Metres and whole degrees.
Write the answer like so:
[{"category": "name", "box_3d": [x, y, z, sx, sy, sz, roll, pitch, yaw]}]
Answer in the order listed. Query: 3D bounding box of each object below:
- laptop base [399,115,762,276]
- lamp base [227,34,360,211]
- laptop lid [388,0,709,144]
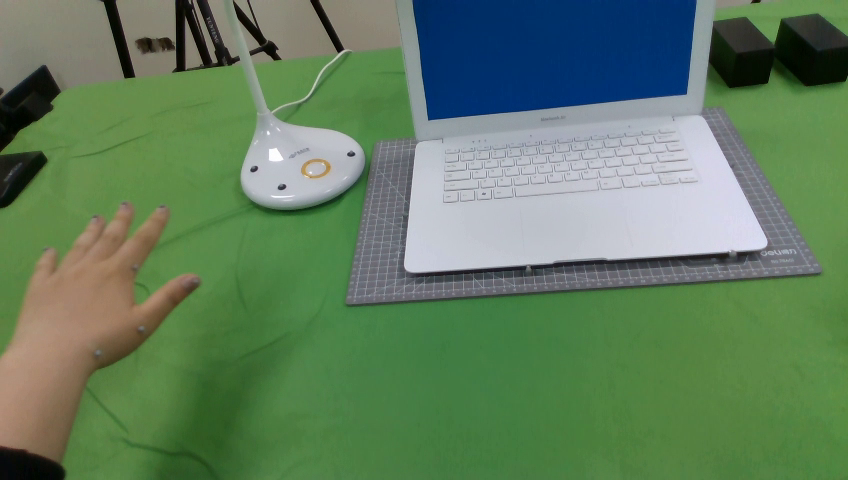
[{"category": "laptop base", "box_3d": [0.154, -0.052, 0.678, 0.354, 0.023, 0.233, -5, 45, 7]}, {"category": "lamp base", "box_3d": [-0.181, -0.152, 0.735, 0.177, 0.182, 0.160, 25, 52, 36]}, {"category": "laptop lid", "box_3d": [0.142, -0.230, 0.697, 0.356, 0.244, 0.013, -6, 34, 7]}]
